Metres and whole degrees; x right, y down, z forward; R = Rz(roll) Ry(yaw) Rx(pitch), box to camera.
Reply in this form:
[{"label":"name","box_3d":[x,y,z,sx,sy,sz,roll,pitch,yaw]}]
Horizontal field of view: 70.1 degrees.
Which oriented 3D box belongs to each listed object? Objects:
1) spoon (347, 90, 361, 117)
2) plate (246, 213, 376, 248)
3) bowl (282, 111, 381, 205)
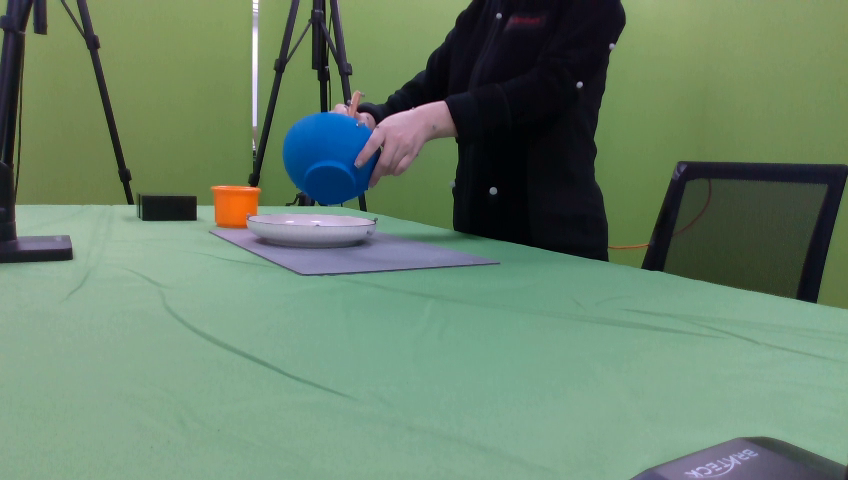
[{"label":"spoon","box_3d":[-0.128,-0.166,0.969,0.041,0.193,0.021,10,-32,0]},{"label":"plate","box_3d":[-0.185,-0.017,0.994,0.209,0.038,0.209,3,8,0]},{"label":"bowl","box_3d":[-0.138,-0.105,0.894,0.151,0.151,0.076,2,44,-5]}]
